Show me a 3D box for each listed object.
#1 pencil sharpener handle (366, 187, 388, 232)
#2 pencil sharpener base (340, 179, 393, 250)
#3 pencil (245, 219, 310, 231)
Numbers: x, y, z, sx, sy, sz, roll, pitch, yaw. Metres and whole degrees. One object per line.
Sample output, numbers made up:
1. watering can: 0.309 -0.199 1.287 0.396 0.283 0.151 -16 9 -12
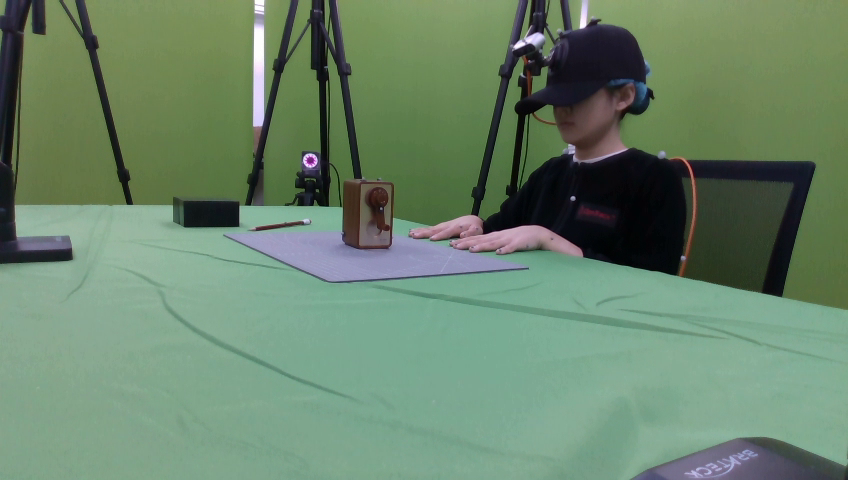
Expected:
1. pencil sharpener handle: -0.065 -0.046 0.915 0.036 0.067 0.030 -8 12 -27
2. pencil sharpener base: -0.091 -0.041 0.960 0.061 0.107 0.076 -1 9 -28
3. pencil: -0.285 -0.029 1.191 0.012 0.012 0.195 7 9 25
